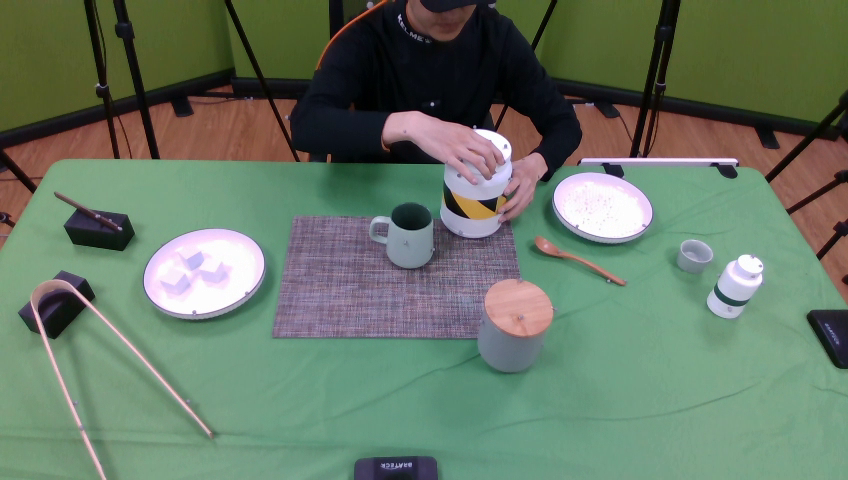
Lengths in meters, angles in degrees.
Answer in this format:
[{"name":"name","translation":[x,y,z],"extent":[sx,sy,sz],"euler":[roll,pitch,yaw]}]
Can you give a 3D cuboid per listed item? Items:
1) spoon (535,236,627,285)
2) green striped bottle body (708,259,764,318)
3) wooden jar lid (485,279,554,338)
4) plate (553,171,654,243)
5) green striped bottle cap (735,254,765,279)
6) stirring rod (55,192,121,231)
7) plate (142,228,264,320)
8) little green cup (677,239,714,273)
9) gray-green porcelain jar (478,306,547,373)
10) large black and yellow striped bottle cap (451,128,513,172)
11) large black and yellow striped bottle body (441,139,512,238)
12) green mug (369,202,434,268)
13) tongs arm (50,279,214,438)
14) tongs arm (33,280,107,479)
[{"name":"spoon","translation":[0.303,0.040,1.178],"extent":[0.193,0.022,0.041],"euler":[25,34,19]},{"name":"green striped bottle body","translation":[0.563,0.081,1.089],"extent":[0.063,0.120,0.063],"euler":[2,46,-2]},{"name":"wooden jar lid","translation":[0.147,0.108,0.940],"extent":[0.108,0.021,0.107],"euler":[4,47,-5]},{"name":"plate","translation":[0.373,-0.066,1.274],"extent":[0.209,0.038,0.208],"euler":[2,46,-2]},{"name":"green striped bottle cap","translation":[0.566,0.046,1.051],"extent":[0.044,0.020,0.044],"euler":[0,45,0]},{"name":"stirring rod","translation":[-0.632,-0.055,1.138],"extent":[0.175,0.014,0.006],"euler":[24,50,19]},{"name":"plate","translation":[-0.394,0.064,1.095],"extent":[0.208,0.039,0.206],"euler":[2,46,-2]},{"name":"little green cup","translation":[0.530,0.033,1.190],"extent":[0.061,0.039,0.061],"euler":[2,47,-2]},{"name":"gray-green porcelain jar","translation":[0.144,0.148,0.989],"extent":[0.106,0.127,0.105],"euler":[2,50,-2]},{"name":"large black and yellow striped bottle cap","translation":[0.108,-0.169,1.134],"extent":[0.115,0.019,0.114],"euler":[1,45,-1]},{"name":"large black and yellow striped bottle body","translation":[0.103,-0.110,1.192],"extent":[0.131,0.185,0.130],"euler":[2,44,-2]},{"name":"green mug","translation":[-0.042,-0.010,1.140],"extent":[0.125,0.105,0.092],"euler":[8,47,4]},{"name":"tongs arm","translation":[-0.459,0.178,0.948],"extent":[0.386,0.028,0.028],"euler":[38,60,17]},{"name":"tongs arm","translation":[-0.517,0.213,0.909],"extent":[0.051,0.026,0.383],"euler":[-29,63,-26]}]
